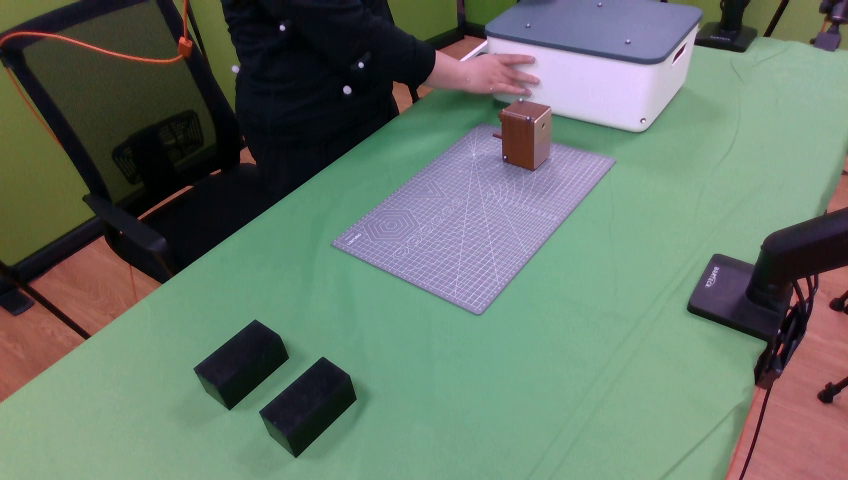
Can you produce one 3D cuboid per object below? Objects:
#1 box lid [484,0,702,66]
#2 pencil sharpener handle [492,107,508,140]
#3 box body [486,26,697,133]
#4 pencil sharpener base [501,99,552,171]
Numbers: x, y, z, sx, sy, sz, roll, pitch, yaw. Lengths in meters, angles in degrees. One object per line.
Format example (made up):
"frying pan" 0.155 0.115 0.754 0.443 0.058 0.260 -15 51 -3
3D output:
"box lid" 0.333 -0.428 1.202 0.368 0.015 0.264 21 48 30
"pencil sharpener handle" 0.141 -0.216 1.114 0.030 0.068 0.036 23 42 32
"box body" 0.340 -0.373 1.251 0.361 0.161 0.255 21 48 30
"pencil sharpener base" 0.184 -0.191 1.096 0.076 0.107 0.061 22 49 32
